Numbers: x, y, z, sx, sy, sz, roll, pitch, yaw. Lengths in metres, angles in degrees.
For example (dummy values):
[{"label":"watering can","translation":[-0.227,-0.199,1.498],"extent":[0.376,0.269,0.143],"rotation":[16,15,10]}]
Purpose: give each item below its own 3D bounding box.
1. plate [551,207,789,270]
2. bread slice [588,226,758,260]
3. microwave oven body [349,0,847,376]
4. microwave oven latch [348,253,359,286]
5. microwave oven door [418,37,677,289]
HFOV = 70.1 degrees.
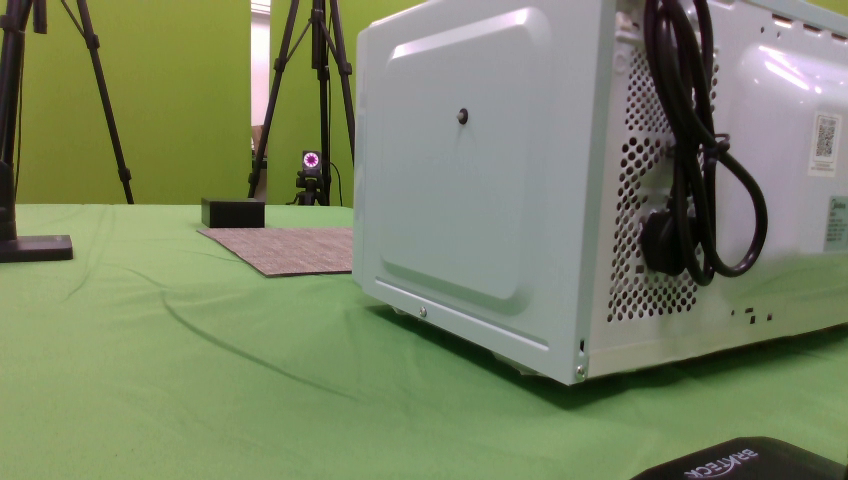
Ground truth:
[{"label":"plate","translation":[0.224,-0.004,0.572],"extent":[0.209,0.038,0.209],"rotation":[3,8,0]},{"label":"bread slice","translation":[0.226,0.001,0.569],"extent":[0.132,0.019,0.104],"rotation":[4,5,-23]},{"label":"microwave oven body","translation":[0.199,-0.053,0.540],"extent":[0.444,0.260,0.324],"rotation":[-1,7,-32]},{"label":"microwave oven latch","translation":[-0.034,0.028,0.581],"extent":[0.079,0.029,0.030],"rotation":[-1,7,-32]},{"label":"microwave oven door","translation":[0.159,-0.079,0.684],"extent":[0.358,0.243,0.039],"rotation":[-2,9,-32]}]
